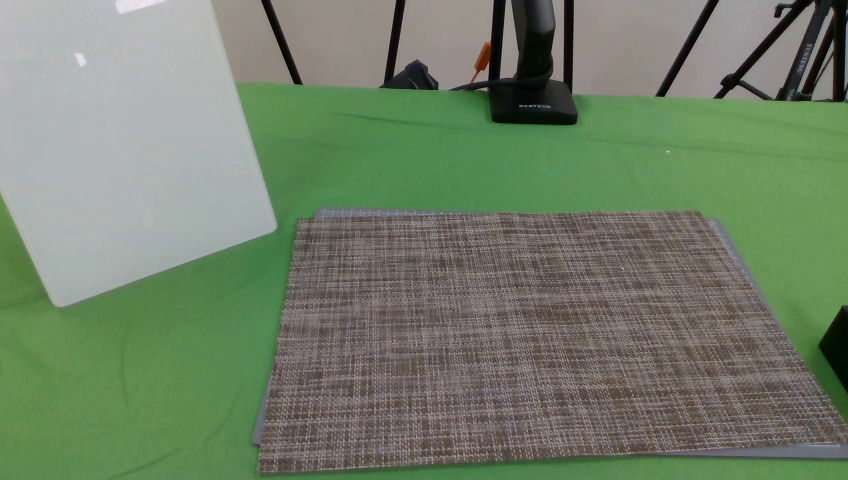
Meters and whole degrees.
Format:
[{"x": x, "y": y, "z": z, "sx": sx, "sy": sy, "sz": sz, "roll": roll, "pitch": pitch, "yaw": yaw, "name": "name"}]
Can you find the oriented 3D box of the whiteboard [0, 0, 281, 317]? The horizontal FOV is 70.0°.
[{"x": -0.302, "y": -0.121, "z": 0.590, "sx": 0.217, "sy": 0.307, "sz": 0.142, "roll": -23, "pitch": 25, "yaw": -26, "name": "whiteboard"}]
